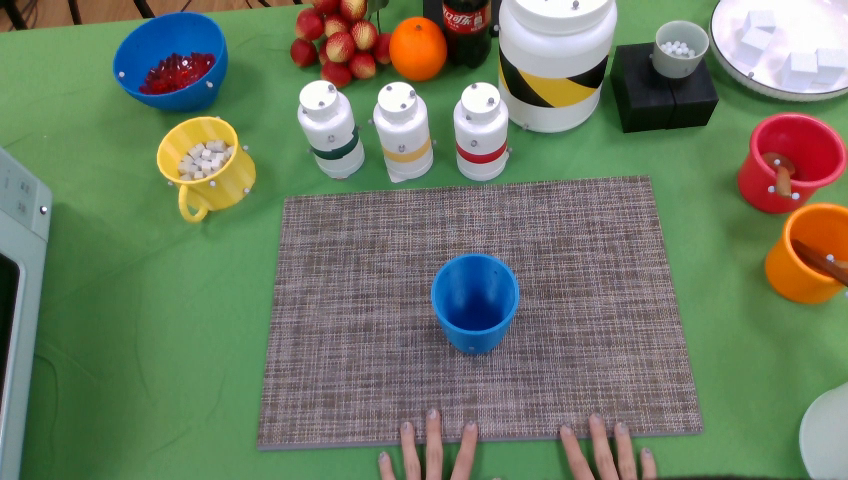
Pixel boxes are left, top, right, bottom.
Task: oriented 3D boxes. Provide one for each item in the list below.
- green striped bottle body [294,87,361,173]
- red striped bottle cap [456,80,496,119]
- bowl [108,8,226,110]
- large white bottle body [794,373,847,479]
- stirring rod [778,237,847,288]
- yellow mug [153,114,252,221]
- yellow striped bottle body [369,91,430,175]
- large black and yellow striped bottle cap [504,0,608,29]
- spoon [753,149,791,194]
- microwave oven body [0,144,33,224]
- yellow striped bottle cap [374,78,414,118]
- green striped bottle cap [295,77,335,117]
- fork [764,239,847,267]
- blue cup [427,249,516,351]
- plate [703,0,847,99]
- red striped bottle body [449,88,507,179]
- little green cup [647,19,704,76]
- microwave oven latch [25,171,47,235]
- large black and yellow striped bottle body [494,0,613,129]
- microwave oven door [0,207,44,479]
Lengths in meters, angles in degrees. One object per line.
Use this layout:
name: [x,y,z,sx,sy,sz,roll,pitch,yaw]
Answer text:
green striped bottle body: [-0.117,-0.138,0.734,0.063,0.120,0.062,-2,63,4]
red striped bottle cap: [0.058,-0.155,0.666,0.044,0.018,0.044,0,61,1]
bowl: [-0.335,-0.231,0.824,0.151,0.077,0.150,-2,63,4]
large white bottle body: [0.410,0.158,0.496,0.130,0.186,0.129,-2,62,4]
stirring rod: [0.396,0.027,0.592,0.014,0.006,0.175,-1,20,3]
yellow mug: [-0.278,-0.085,0.751,0.100,0.064,0.130,6,64,8]
yellow striped bottle body: [-0.029,-0.135,0.723,0.063,0.121,0.062,-3,62,5]
large black and yellow striped bottle cap: [0.141,-0.273,0.646,0.115,0.019,0.114,-3,62,5]
spoon: [0.372,-0.075,0.641,0.041,0.022,0.194,28,24,19]
microwave oven body: [-0.609,0.095,0.579,0.326,0.262,0.437,-12,63,-1]
yellow striped bottle cap: [-0.034,-0.159,0.677,0.044,0.019,0.044,-2,64,4]
green striped bottle cap: [-0.124,-0.162,0.687,0.044,0.020,0.044,-1,63,3]
fork: [0.426,0.027,0.582,0.028,0.019,0.206,-39,22,-13]
blue cup: [0.048,0.070,0.619,0.092,0.101,0.092,-1,62,3]
plate: [0.468,-0.263,0.787,0.209,0.038,0.207,-2,64,4]
red striped bottle body: [0.064,-0.130,0.712,0.063,0.121,0.062,-4,61,8]
little green cup: [0.300,-0.230,0.729,0.061,0.039,0.061,-2,62,3]
microwave oven latch: [-0.487,-0.044,0.746,0.030,0.030,0.078,-10,63,0]
large black and yellow striped bottle body: [0.150,-0.236,0.722,0.131,0.185,0.129,-2,63,5]
microwave oven door: [-0.458,0.100,0.556,0.039,0.246,0.352,-12,63,0]
